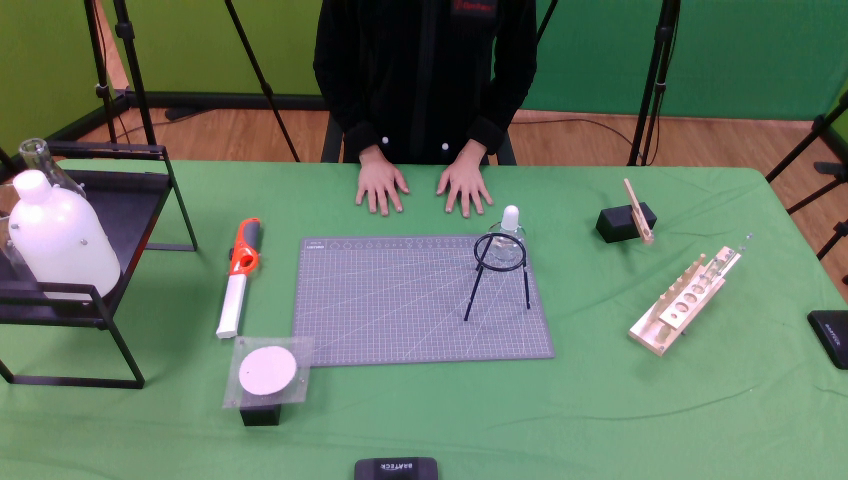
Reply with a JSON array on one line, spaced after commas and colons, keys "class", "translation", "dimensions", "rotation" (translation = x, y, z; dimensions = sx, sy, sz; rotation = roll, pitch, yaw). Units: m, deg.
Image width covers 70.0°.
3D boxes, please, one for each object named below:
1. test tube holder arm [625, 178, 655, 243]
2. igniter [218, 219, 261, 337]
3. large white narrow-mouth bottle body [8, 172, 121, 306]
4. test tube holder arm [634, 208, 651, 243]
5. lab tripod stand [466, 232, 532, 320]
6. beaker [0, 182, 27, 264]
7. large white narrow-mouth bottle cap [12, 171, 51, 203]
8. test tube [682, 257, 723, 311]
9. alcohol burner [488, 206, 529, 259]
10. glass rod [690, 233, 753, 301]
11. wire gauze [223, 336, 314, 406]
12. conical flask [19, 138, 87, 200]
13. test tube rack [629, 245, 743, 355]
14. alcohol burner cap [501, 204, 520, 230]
[{"class": "test tube holder arm", "translation": [0.433, -0.062, 1.220], "dimensions": [0.013, 0.015, 0.177], "rotation": [1, 47, -3]}, {"class": "igniter", "translation": [-0.336, 0.059, 1.111], "dimensions": [0.057, 0.025, 0.274], "rotation": [-8, 46, 3]}, {"class": "large white narrow-mouth bottle body", "translation": [-0.479, -0.007, 0.798], "dimensions": [0.102, 0.195, 0.101], "rotation": [2, 46, -2]}, {"class": "test tube holder arm", "translation": [0.428, -0.030, 1.189], "dimensions": [0.010, 0.015, 0.087], "rotation": [2, 47, -2]}, {"class": "lab tripod stand", "translation": [0.125, 0.059, 1.065], "dimensions": [0.148, 0.132, 0.147], "rotation": [1, 45, 0]}, {"class": "beaker", "translation": [-0.582, -0.019, 0.870], "dimensions": [0.074, 0.101, 0.083], "rotation": [5, 46, 1]}, {"class": "large white narrow-mouth bottle cap", "translation": [-0.477, -0.065, 0.737], "dimensions": [0.038, 0.024, 0.037], "rotation": [2, 46, -2]}, {"class": "test tube", "translation": [0.475, 0.080, 1.037], "dimensions": [0.017, 0.151, 0.017], "rotation": [1, 51, -1]}, {"class": "alcohol burner", "translation": [0.163, -0.020, 1.158], "dimensions": [0.078, 0.120, 0.077], "rotation": [0, 47, 0]}, {"class": "glass rod", "translation": [0.507, 0.053, 1.041], "dimensions": [0.008, 0.200, 0.008], "rotation": [5, 51, -6]}, {"class": "wire gauze", "translation": [-0.237, 0.197, 0.931], "dimensions": [0.121, 0.011, 0.124], "rotation": [1, 45, -4]}, {"class": "conical flask", "translation": [-0.576, -0.097, 0.930], "dimensions": [0.075, 0.122, 0.075], "rotation": [2, 46, -2]}, {"class": "test tube rack", "translation": [0.474, 0.095, 1.091], "dimensions": [0.242, 0.085, 0.066], "rotation": [-34, 57, -31]}, {"class": "alcohol burner cap", "translation": [0.164, -0.046, 1.133], "dimensions": [0.034, 0.048, 0.033], "rotation": [2, 40, -2]}]
